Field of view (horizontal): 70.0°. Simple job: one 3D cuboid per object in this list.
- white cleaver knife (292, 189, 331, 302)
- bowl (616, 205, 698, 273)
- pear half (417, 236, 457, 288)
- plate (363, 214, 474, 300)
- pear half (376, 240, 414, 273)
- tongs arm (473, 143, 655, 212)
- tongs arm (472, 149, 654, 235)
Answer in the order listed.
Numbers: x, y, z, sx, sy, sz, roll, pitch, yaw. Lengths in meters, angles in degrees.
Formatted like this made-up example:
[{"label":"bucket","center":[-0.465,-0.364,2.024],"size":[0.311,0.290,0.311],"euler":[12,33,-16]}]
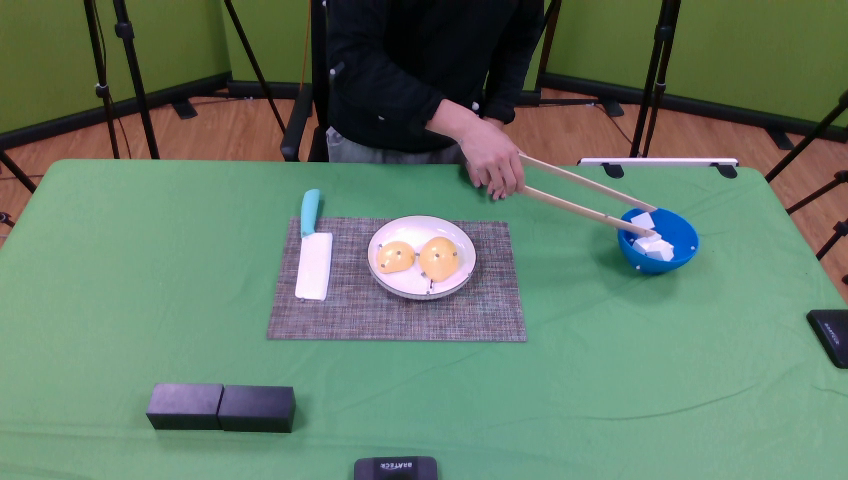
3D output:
[{"label":"white cleaver knife","center":[-0.215,0.006,1.178],"size":[0.066,0.021,0.284],"euler":[5,49,-12]},{"label":"bowl","center":[0.443,0.011,1.182],"size":[0.151,0.077,0.150],"euler":[2,46,-2]},{"label":"pear half","center":[0.022,0.039,1.127],"size":[0.076,0.056,0.109],"euler":[6,49,7]},{"label":"plate","center":[-0.010,0.036,1.146],"size":[0.208,0.039,0.206],"euler":[3,46,-2]},{"label":"pear half","center":[-0.058,0.026,1.146],"size":[0.070,0.031,0.088],"euler":[23,43,22]},{"label":"tongs arm","center":[0.269,-0.111,1.123],"size":[0.389,0.028,0.028],"euler":[17,73,-18]},{"label":"tongs arm","center":[0.263,-0.083,1.112],"size":[0.386,0.026,0.050],"euler":[15,70,-19]}]
